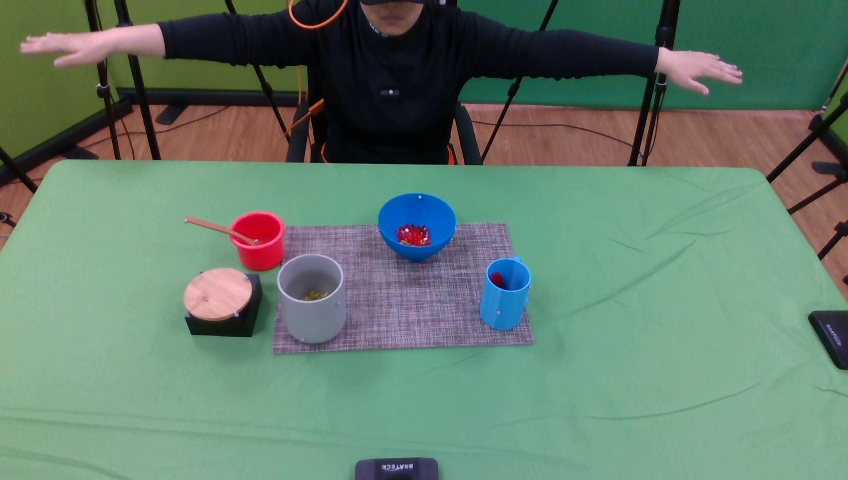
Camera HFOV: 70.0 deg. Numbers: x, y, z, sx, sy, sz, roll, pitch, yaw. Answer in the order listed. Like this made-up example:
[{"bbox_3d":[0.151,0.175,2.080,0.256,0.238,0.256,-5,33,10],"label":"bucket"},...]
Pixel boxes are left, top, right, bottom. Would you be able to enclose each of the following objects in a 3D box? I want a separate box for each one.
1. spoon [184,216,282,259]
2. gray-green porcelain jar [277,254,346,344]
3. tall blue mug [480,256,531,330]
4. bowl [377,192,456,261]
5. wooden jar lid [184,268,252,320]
[{"bbox_3d":[-0.341,-0.008,1.096,0.195,0.021,0.041,29,35,-41],"label":"spoon"},{"bbox_3d":[-0.184,0.102,1.008,0.106,0.127,0.105,2,46,-2],"label":"gray-green porcelain jar"},{"bbox_3d":[0.140,0.084,1.061,0.078,0.108,0.106,-2,46,-4],"label":"tall blue mug"},{"bbox_3d":[-0.015,-0.013,1.166,0.151,0.077,0.150,2,46,-2],"label":"bowl"},{"bbox_3d":[-0.343,0.092,1.015,0.108,0.021,0.107,3,46,-3],"label":"wooden jar lid"}]
